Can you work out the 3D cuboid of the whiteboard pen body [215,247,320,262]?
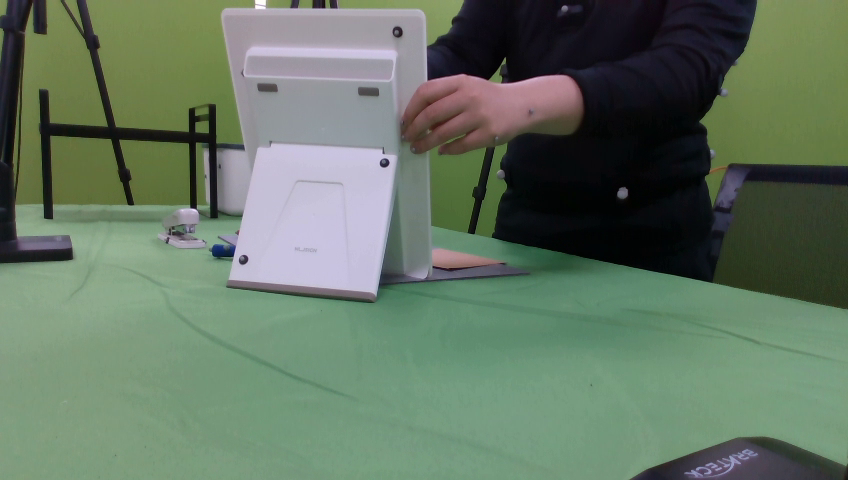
[{"bbox_3d":[-0.208,0.018,0.804,0.141,0.017,0.017,3,7,1],"label":"whiteboard pen body"}]

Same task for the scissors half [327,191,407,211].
[{"bbox_3d":[-0.123,-0.092,1.316,0.175,0.040,0.013,6,14,-4],"label":"scissors half"}]

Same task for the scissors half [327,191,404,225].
[{"bbox_3d":[-0.128,-0.073,1.320,0.175,0.040,0.013,22,7,-6],"label":"scissors half"}]

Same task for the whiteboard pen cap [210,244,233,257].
[{"bbox_3d":[-0.266,0.015,0.806,0.033,0.018,0.018,2,7,-1],"label":"whiteboard pen cap"}]

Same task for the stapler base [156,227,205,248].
[{"bbox_3d":[-0.376,-0.007,0.935,0.041,0.024,0.130,0,6,-38],"label":"stapler base"}]

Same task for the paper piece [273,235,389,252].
[{"bbox_3d":[-0.151,0.003,0.978,0.135,0.008,0.139,14,10,35],"label":"paper piece"}]

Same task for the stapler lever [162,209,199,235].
[{"bbox_3d":[-0.376,-0.031,0.933,0.027,0.040,0.117,0,7,-38],"label":"stapler lever"}]

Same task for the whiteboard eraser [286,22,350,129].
[{"bbox_3d":[-0.115,-0.177,0.657,0.055,0.113,0.042,11,35,21],"label":"whiteboard eraser"}]

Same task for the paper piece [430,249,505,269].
[{"bbox_3d":[0.025,0.026,0.865,0.134,0.004,0.136,9,9,43],"label":"paper piece"}]

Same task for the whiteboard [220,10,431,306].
[{"bbox_3d":[-0.118,-0.064,0.619,0.217,0.305,0.144,5,29,13],"label":"whiteboard"}]

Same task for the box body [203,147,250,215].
[{"bbox_3d":[-0.347,-0.152,1.519,0.366,0.160,0.253,-2,9,-31],"label":"box body"}]

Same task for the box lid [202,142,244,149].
[{"bbox_3d":[-0.345,-0.225,1.509,0.373,0.015,0.262,-2,8,-31],"label":"box lid"}]

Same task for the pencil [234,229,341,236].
[{"bbox_3d":[-0.232,-0.012,1.053,0.195,0.012,0.012,0,8,-36],"label":"pencil"}]
